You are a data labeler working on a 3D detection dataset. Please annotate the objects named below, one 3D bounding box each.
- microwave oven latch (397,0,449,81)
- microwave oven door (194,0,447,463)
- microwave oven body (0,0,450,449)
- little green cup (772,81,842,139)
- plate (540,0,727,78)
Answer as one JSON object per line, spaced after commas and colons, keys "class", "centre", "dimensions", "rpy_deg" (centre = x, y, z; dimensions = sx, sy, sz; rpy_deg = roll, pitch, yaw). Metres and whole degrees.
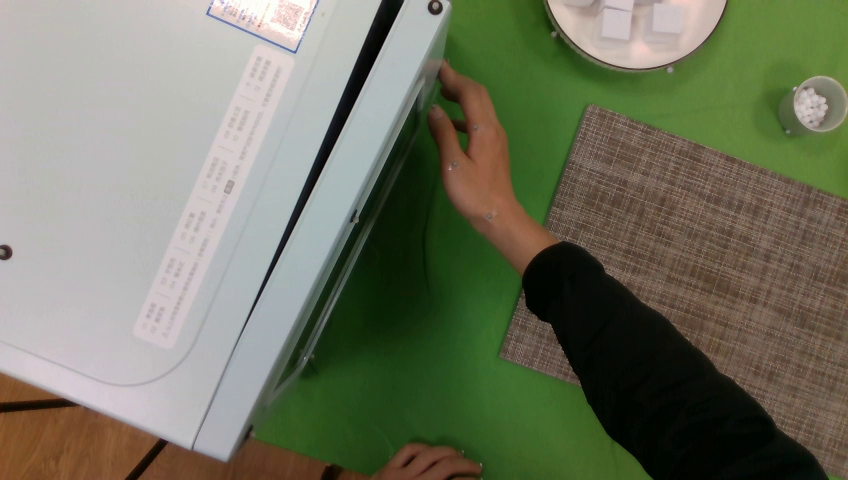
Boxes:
{"class": "microwave oven latch", "centre": [-0.002, -0.211, 0.640], "dimensions": [0.030, 0.029, 0.079], "rpy_deg": [27, 89, -2]}
{"class": "microwave oven door", "centre": [-0.078, -0.007, 0.533], "dimensions": [0.039, 0.244, 0.355], "rpy_deg": [26, 88, -1]}
{"class": "microwave oven body", "centre": [-0.203, -0.107, 0.534], "dimensions": [0.326, 0.260, 0.441], "rpy_deg": [23, 89, -2]}
{"class": "little green cup", "centre": [0.425, -0.143, 0.676], "dimensions": [0.061, 0.038, 0.061], "rpy_deg": [0, 88, -3]}
{"class": "plate", "centre": [0.227, -0.280, 0.669], "dimensions": [0.208, 0.039, 0.207], "rpy_deg": [0, 89, -2]}
